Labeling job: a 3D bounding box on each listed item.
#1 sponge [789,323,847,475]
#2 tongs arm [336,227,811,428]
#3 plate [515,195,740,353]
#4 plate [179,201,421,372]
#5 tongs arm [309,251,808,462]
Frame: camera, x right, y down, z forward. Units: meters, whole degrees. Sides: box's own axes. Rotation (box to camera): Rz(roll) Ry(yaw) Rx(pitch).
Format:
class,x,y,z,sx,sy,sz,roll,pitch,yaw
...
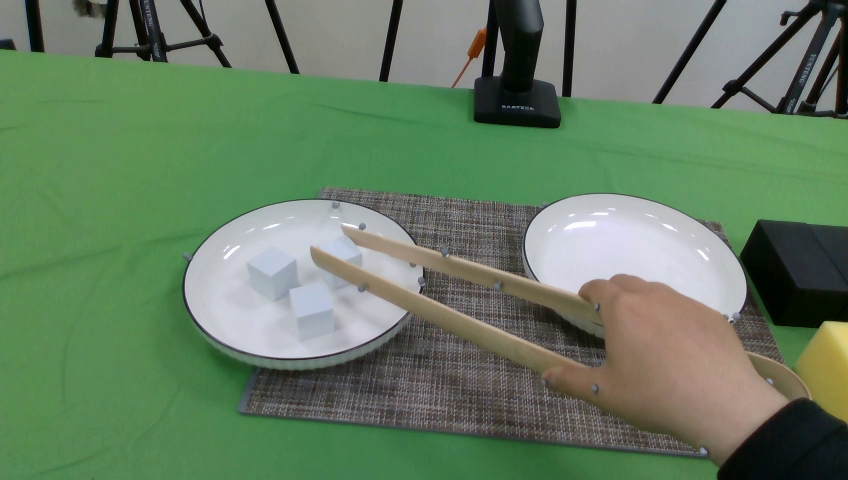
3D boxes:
class,x,y,z,sx,sy,sz,roll,pitch,yaw
sponge,0.379,0.159,0.442,0.118,0.061,0.205,2,41,-2
tongs arm,0.070,0.053,0.452,0.382,0.027,0.050,15,47,30
plate,0.190,0.032,0.585,0.208,0.039,0.205,3,40,-2
plate,-0.106,0.040,0.545,0.209,0.038,0.207,3,40,-2
tongs arm,0.054,0.069,0.438,0.384,0.028,0.028,18,45,33
